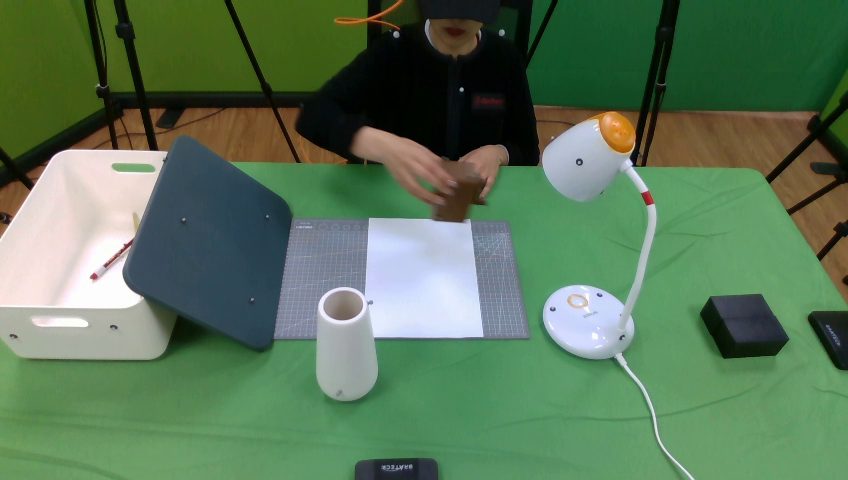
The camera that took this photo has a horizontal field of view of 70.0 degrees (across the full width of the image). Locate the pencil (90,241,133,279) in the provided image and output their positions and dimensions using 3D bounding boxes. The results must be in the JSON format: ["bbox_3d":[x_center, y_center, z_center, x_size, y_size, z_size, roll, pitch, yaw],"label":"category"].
[{"bbox_3d":[-0.551,0.006,1.144,0.012,0.012,0.193,23,51,17],"label":"pencil"}]

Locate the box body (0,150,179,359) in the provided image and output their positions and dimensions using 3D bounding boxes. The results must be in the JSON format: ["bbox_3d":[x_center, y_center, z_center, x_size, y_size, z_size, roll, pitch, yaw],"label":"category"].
[{"bbox_3d":[-0.541,0.020,1.041,0.254,0.161,0.361,1,46,-3],"label":"box body"}]

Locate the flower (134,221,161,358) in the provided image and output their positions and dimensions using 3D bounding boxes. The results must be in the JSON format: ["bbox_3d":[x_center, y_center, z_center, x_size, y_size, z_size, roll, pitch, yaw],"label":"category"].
[{"bbox_3d":[-0.508,0.071,1.093,0.044,0.038,0.359,-41,45,8],"label":"flower"}]

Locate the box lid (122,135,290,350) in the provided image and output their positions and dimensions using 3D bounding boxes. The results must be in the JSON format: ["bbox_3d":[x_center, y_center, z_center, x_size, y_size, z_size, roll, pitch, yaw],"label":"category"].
[{"bbox_3d":[-0.356,-0.006,1.059,0.015,0.265,0.369,-33,39,26],"label":"box lid"}]

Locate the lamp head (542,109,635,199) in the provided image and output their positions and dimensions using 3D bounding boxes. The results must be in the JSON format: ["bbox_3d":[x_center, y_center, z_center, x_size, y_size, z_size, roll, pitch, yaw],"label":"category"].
[{"bbox_3d":[0.253,-0.131,0.893,0.113,0.123,0.112,10,66,-24],"label":"lamp head"}]

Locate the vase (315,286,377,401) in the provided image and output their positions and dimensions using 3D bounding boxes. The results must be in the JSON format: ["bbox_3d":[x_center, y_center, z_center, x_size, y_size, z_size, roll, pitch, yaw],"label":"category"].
[{"bbox_3d":[-0.119,0.159,0.911,0.098,0.201,0.097,2,47,-2],"label":"vase"}]

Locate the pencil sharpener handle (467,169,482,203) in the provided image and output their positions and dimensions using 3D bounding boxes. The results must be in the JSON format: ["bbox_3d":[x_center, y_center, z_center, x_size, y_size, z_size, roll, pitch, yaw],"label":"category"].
[{"bbox_3d":[0.095,-0.097,1.102,0.031,0.068,0.036,4,40,-6],"label":"pencil sharpener handle"}]

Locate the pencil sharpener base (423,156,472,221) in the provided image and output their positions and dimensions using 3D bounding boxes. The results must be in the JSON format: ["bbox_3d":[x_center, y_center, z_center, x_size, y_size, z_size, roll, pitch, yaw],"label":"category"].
[{"bbox_3d":[0.042,-0.092,1.105,0.077,0.107,0.061,4,43,-6],"label":"pencil sharpener base"}]

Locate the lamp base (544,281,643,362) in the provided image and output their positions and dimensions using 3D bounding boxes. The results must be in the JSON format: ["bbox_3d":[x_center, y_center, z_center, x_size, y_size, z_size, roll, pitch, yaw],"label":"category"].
[{"bbox_3d":[0.303,0.095,1.014,0.161,0.181,0.178,-24,54,-24],"label":"lamp base"}]
